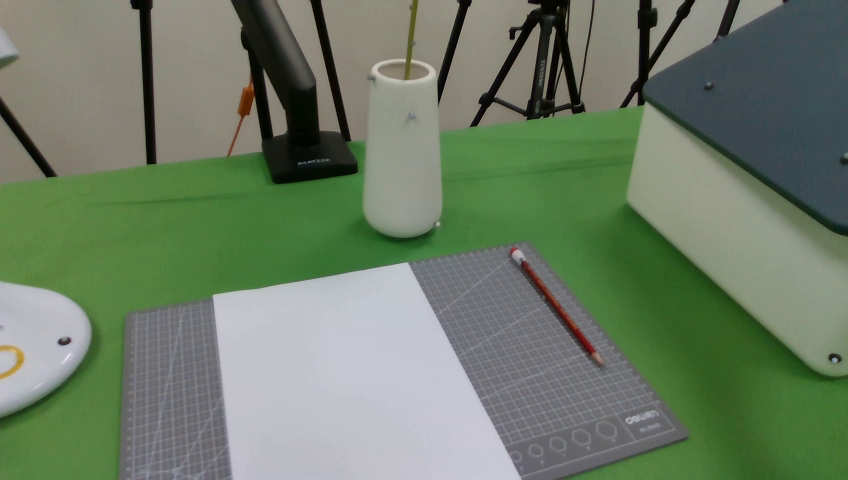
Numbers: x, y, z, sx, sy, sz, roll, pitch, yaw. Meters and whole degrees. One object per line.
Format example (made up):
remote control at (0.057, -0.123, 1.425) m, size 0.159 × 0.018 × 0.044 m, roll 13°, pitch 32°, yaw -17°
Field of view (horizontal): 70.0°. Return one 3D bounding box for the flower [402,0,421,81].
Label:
flower at (-0.021, -0.154, 0.638) m, size 0.044 × 0.364 × 0.038 m, roll 27°, pitch 54°, yaw 8°

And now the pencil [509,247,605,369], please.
pencil at (0.137, 0.066, 0.642) m, size 0.012 × 0.012 × 0.192 m, roll -11°, pitch 39°, yaw -18°

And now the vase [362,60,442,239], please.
vase at (-0.026, -0.101, 0.704) m, size 0.098 × 0.201 × 0.097 m, roll 1°, pitch 35°, yaw 0°

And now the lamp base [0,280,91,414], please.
lamp base at (-0.394, 0.032, 0.503) m, size 0.177 × 0.182 × 0.160 m, roll 25°, pitch 41°, yaw 31°

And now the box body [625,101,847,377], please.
box body at (0.433, -0.037, 0.684) m, size 0.255 × 0.162 × 0.359 m, roll -10°, pitch 38°, yaw -17°

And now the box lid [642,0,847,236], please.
box lid at (0.401, -0.151, 0.578) m, size 0.263 × 0.015 × 0.367 m, roll -30°, pitch 32°, yaw 8°

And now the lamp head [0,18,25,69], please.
lamp head at (-0.303, -0.129, 0.319) m, size 0.112 × 0.124 × 0.111 m, roll -24°, pitch 20°, yaw 10°
